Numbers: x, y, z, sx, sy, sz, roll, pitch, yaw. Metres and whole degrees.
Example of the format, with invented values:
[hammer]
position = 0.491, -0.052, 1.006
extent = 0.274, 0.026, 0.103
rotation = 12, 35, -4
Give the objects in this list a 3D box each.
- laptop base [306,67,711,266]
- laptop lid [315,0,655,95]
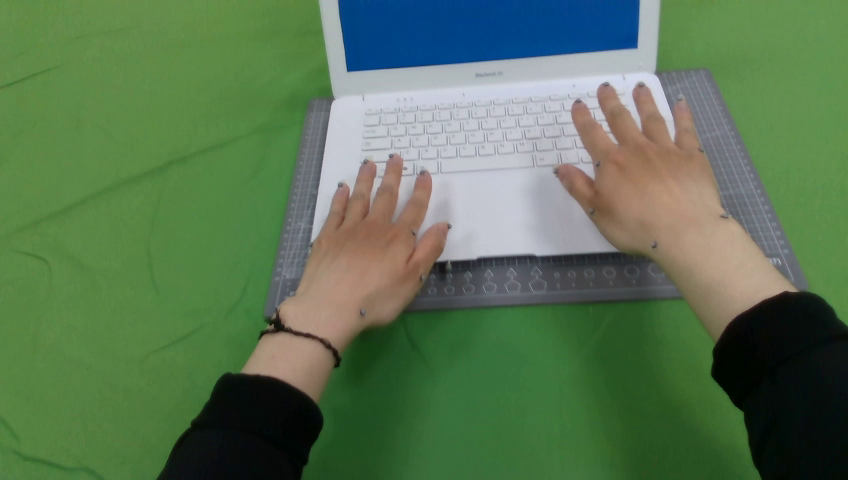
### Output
[laptop base]
position = 0.070, -0.077, 0.596
extent = 0.354, 0.023, 0.233
rotation = -4, 55, 4
[laptop lid]
position = 0.060, -0.274, 0.619
extent = 0.356, 0.243, 0.013
rotation = -5, 24, 5
